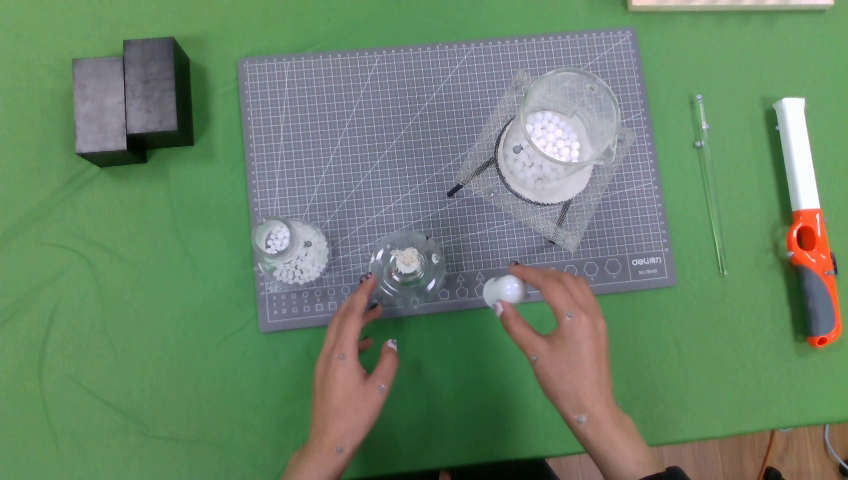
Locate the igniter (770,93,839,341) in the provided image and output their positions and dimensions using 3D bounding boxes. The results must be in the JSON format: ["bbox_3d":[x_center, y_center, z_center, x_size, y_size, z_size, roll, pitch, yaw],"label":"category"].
[{"bbox_3d":[0.421,-0.029,0.671,0.057,0.025,0.275,-2,83,-14],"label":"igniter"}]

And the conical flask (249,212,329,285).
[{"bbox_3d":[-0.135,0.003,0.583,0.075,0.122,0.075,0,82,-3],"label":"conical flask"}]

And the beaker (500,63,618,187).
[{"bbox_3d":[0.105,-0.085,0.488,0.084,0.100,0.074,44,83,3],"label":"beaker"}]

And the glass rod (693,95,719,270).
[{"bbox_3d":[0.316,-0.066,0.679,0.008,0.008,0.199,-4,86,-4],"label":"glass rod"}]

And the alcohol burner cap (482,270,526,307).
[{"bbox_3d":[0.076,0.042,0.558,0.034,0.048,0.033,3,77,-15],"label":"alcohol burner cap"}]

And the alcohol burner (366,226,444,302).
[{"bbox_3d":[-0.019,0.022,0.592,0.078,0.119,0.077,0,82,-1],"label":"alcohol burner"}]

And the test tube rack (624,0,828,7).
[{"bbox_3d":[0.354,-0.314,0.674,0.242,0.085,0.066,-2,82,-3],"label":"test tube rack"}]

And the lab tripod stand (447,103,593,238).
[{"bbox_3d":[0.100,-0.069,0.601,0.148,0.131,0.148,0,84,-2],"label":"lab tripod stand"}]

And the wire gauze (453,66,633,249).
[{"bbox_3d":[0.106,-0.075,0.535,0.125,0.011,0.121,31,85,-1],"label":"wire gauze"}]
